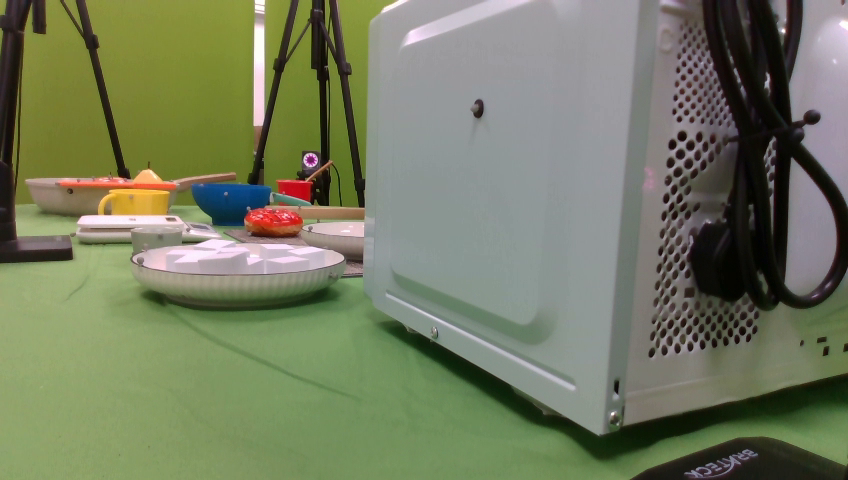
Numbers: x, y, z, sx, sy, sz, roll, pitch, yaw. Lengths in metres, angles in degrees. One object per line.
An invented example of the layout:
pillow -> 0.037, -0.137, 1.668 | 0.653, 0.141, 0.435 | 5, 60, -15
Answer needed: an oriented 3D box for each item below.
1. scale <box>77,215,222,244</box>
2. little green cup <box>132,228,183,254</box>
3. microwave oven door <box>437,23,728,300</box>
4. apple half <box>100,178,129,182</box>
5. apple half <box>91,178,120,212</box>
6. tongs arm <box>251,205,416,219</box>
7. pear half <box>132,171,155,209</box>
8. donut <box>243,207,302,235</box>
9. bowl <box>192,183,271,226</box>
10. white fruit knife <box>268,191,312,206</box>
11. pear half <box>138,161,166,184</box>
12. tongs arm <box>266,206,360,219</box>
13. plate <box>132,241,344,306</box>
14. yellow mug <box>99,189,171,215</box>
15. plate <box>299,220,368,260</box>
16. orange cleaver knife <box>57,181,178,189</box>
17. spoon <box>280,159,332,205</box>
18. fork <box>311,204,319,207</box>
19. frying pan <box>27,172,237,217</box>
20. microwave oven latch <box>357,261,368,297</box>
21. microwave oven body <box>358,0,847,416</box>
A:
scale -> -0.434, -0.019, 0.963 | 0.202, 0.031, 0.148 | -1, 9, -27
little green cup -> -0.342, 0.006, 0.779 | 0.061, 0.038, 0.061 | 2, 8, 0
microwave oven door -> 0.180, -0.072, 0.621 | 0.358, 0.243, 0.039 | -2, 9, -29
apple half -> -0.638, -0.092, 1.265 | 0.053, 0.074, 0.081 | 7, 5, 10
apple half -> -0.677, -0.096, 1.271 | 0.033, 0.081, 0.081 | 7, 8, 10
tongs arm -> -0.211, -0.067, 1.440 | 0.389, 0.027, 0.028 | 0, -1, -17
pear half -> -0.636, -0.113, 1.362 | 0.031, 0.088, 0.070 | 3, 13, 1
donut -> -0.261, -0.032, 1.043 | 0.099, 0.048, 0.099 | 4, 9, 0
bowl -> -0.382, -0.071, 1.202 | 0.151, 0.077, 0.151 | 3, 7, 0
white fruit knife -> -0.364, -0.105, 1.464 | 0.208, 0.027, 0.016 | 15, 0, -34
pear half -> -0.602, -0.120, 1.354 | 0.056, 0.110, 0.076 | 4, 11, 6
tongs arm -> -0.173, -0.061, 1.362 | 0.387, 0.026, 0.050 | -1, 2, -31
plate -> -0.187, 0.033, 0.625 | 0.208, 0.039, 0.207 | 2, 8, 0
yellow mug -> -0.519, -0.055, 1.080 | 0.099, 0.064, 0.131 | 7, 10, 26
plate -> -0.078, -0.001, 0.890 | 0.209, 0.038, 0.209 | 2, 8, 0
orange cleaver knife -> -0.600, -0.109, 1.188 | 0.212, 0.012, 0.077 | -1, 11, -26
spoon -> -0.316, -0.159, 1.640 | 0.194, 0.022, 0.041 | -50, 31, -20
fork -> -0.356, -0.105, 1.526 | 0.208, 0.018, 0.028 | 16, -5, -41
frying pan -> -0.624, -0.118, 1.387 | 0.305, 0.102, 0.490 | 8, 17, 32
microwave oven latch -> -0.019, 0.033, 0.531 | 0.079, 0.029, 0.030 | -1, 7, -27
microwave oven body -> 0.211, -0.047, 0.475 | 0.444, 0.260, 0.324 | -1, 7, -28
